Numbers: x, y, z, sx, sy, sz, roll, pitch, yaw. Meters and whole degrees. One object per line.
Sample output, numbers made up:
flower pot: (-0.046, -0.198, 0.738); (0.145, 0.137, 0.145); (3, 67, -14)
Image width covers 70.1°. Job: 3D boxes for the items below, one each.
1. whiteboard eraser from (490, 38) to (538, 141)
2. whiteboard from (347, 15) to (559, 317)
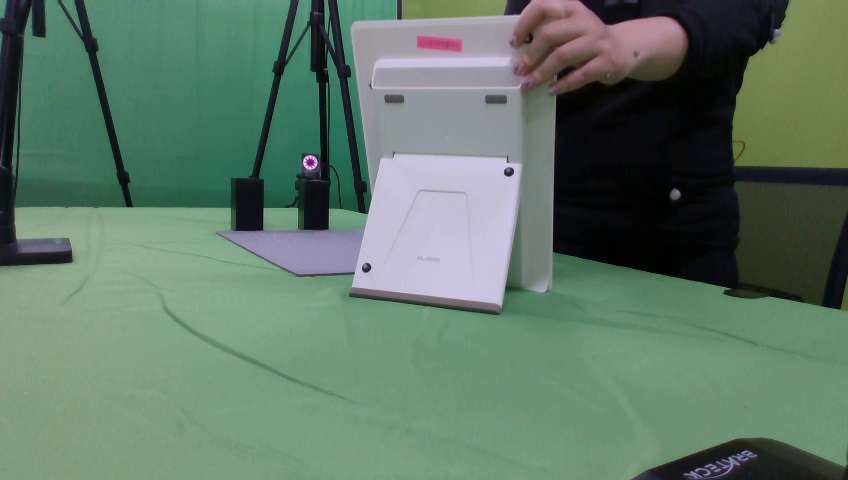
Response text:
whiteboard eraser: (0.091, -0.153, 0.616); (0.041, 0.101, 0.019); (8, 21, 11)
whiteboard: (0.012, -0.055, 0.609); (0.216, 0.305, 0.144); (5, 27, 20)
